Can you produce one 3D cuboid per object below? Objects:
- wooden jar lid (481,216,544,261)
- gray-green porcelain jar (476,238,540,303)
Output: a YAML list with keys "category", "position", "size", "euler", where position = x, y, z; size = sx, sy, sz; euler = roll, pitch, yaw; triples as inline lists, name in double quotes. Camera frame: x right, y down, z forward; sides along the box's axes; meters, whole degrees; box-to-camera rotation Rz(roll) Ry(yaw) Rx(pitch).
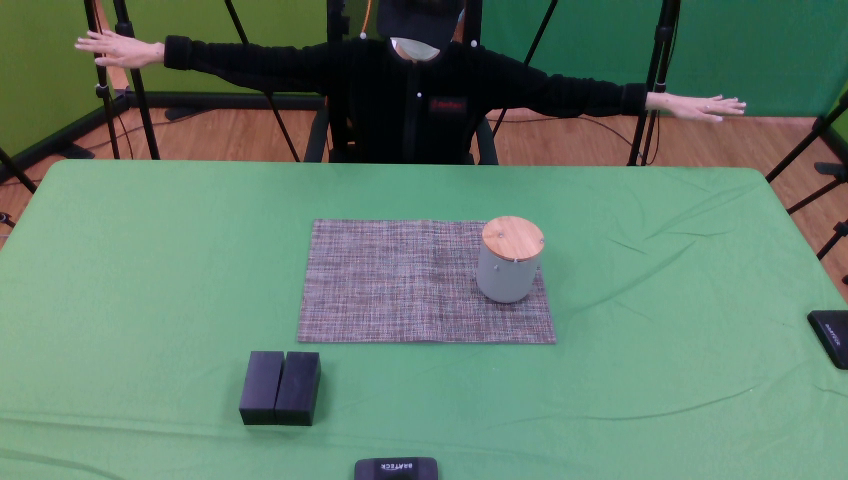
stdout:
- category: "wooden jar lid"
  position: [0.152, 0.001, 1.045]
  size: [0.108, 0.021, 0.107]
  euler: [3, 44, -3]
- category: "gray-green porcelain jar"
  position: [0.149, 0.044, 1.090]
  size: [0.106, 0.127, 0.105]
  euler: [2, 46, -2]
